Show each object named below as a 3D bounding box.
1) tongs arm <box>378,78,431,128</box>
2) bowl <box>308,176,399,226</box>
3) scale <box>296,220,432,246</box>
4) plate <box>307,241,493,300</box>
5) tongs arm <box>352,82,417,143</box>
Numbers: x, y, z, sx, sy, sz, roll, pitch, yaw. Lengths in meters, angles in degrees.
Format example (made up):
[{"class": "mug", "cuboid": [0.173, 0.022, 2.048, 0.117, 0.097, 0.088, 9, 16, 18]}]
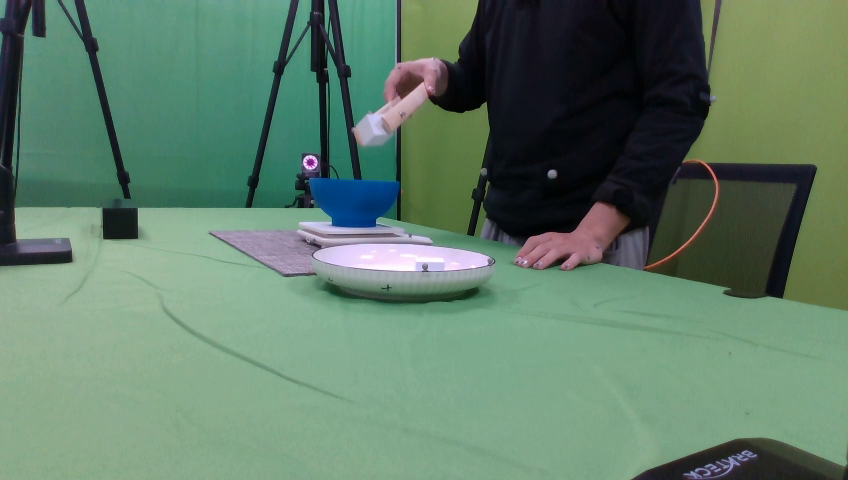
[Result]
[{"class": "tongs arm", "cuboid": [-0.025, -0.224, 0.962, 0.028, 0.028, 0.387, -30, 14, 18]}, {"class": "bowl", "cuboid": [-0.116, -0.064, 1.001, 0.151, 0.077, 0.151, 2, 6, 0]}, {"class": "scale", "cuboid": [-0.101, -0.012, 1.017, 0.202, 0.031, 0.148, -1, 8, -30]}, {"class": "plate", "cuboid": [-0.027, 0.034, 0.684, 0.208, 0.039, 0.207, 2, 7, 0]}, {"class": "tongs arm", "cuboid": [-0.050, -0.212, 0.971, 0.050, 0.026, 0.384, -27, 15, 15]}]
